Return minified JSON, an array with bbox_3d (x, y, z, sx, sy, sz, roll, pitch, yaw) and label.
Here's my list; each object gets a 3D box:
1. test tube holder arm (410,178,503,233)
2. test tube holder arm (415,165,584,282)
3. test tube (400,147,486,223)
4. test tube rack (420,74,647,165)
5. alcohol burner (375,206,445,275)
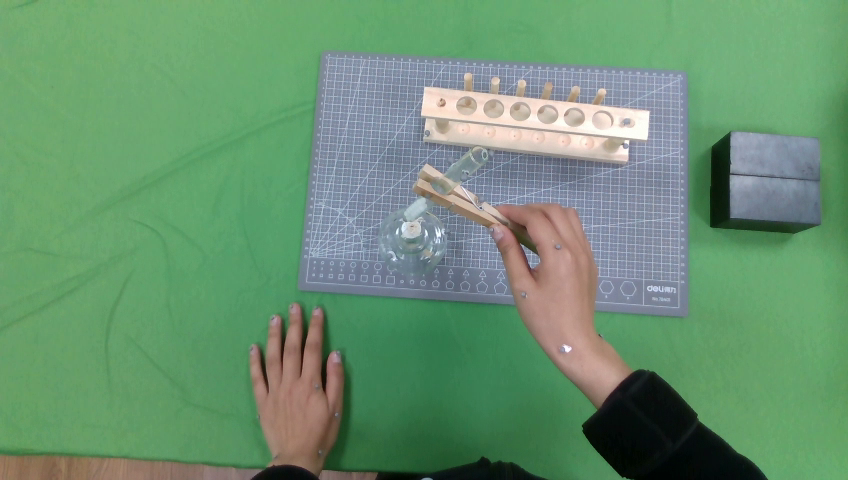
[{"bbox_3d":[0.029,-0.028,0.518,0.088,0.015,0.010,25,70,-16],"label":"test tube holder arm"},{"bbox_3d":[0.070,-0.012,0.532,0.179,0.015,0.013,31,69,-14],"label":"test tube holder arm"},{"bbox_3d":[0.011,-0.042,0.513,0.017,0.150,0.017,7,71,-22],"label":"test tube"},{"bbox_3d":[0.120,-0.143,0.692,0.242,0.085,0.066,7,81,2],"label":"test tube rack"},{"bbox_3d":[-0.016,-0.003,0.655,0.078,0.119,0.077,0,79,-1],"label":"alcohol burner"}]
